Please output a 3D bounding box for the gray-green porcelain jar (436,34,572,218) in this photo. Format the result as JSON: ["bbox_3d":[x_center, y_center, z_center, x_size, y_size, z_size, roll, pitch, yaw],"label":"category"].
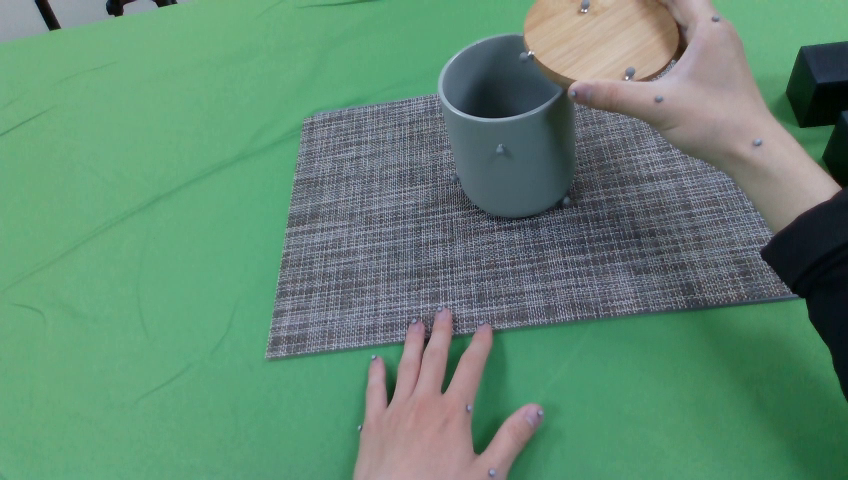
[{"bbox_3d":[0.072,-0.089,0.514,0.106,0.128,0.105,-7,52,9],"label":"gray-green porcelain jar"}]

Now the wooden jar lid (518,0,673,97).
[{"bbox_3d":[0.122,-0.144,0.438,0.108,0.021,0.107,-1,61,3],"label":"wooden jar lid"}]
